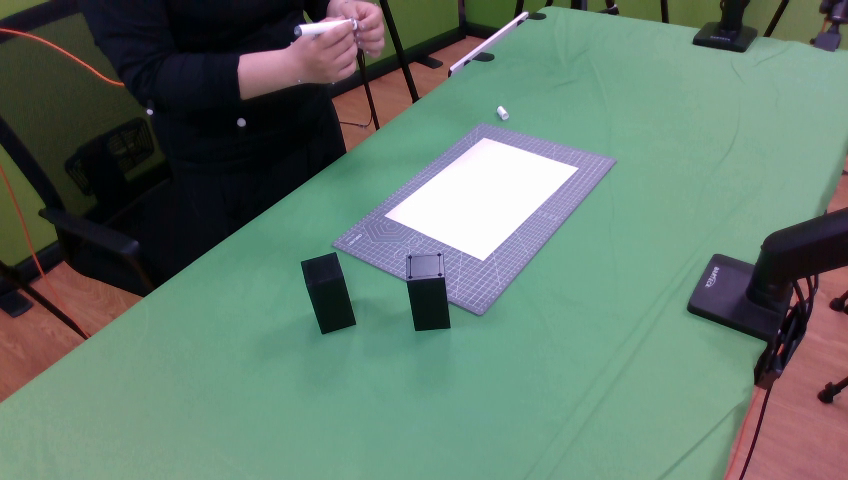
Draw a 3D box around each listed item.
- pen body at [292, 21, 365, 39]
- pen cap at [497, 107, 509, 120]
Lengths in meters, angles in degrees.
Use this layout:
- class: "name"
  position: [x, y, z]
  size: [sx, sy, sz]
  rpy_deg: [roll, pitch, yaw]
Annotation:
- class: "pen body"
  position: [-0.145, -0.330, 0.948]
  size: [0.017, 0.017, 0.145]
  rpy_deg: [25, 36, 33]
- class: "pen cap"
  position: [0.164, -0.264, 1.261]
  size: [0.017, 0.017, 0.038]
  rpy_deg: [-14, 40, -7]
